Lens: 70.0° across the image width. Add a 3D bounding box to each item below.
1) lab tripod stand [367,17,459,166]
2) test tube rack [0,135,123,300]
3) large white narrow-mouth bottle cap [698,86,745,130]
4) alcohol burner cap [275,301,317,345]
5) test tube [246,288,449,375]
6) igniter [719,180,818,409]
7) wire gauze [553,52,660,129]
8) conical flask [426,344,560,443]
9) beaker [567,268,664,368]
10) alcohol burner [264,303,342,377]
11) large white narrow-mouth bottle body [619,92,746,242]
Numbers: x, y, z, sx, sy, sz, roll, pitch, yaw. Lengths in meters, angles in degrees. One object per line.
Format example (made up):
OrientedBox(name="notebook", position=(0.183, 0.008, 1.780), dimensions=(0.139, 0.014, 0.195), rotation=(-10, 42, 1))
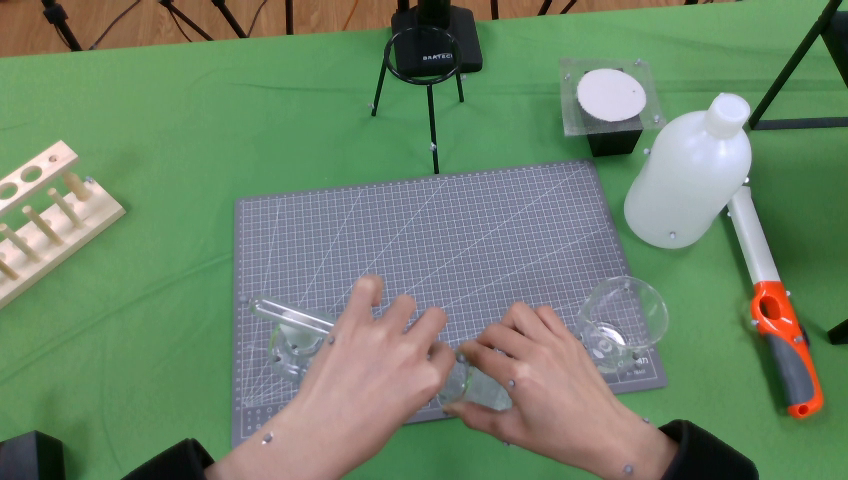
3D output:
OrientedBox(name="lab tripod stand", position=(-0.004, -0.186, 0.739), dimensions=(0.148, 0.132, 0.147), rotation=(1, 62, -2))
OrientedBox(name="test tube rack", position=(-0.467, 0.000, 0.660), dimensions=(0.066, 0.086, 0.242), rotation=(38, 68, 18))
OrientedBox(name="large white narrow-mouth bottle cap", position=(0.283, -0.126, 0.577), dimensions=(0.038, 0.024, 0.037), rotation=(0, 61, 0))
OrientedBox(name="alcohol burner cap", position=(-0.121, 0.076, 0.564), dimensions=(0.034, 0.048, 0.033), rotation=(-2, 61, 4))
OrientedBox(name="test tube", position=(-0.051, 0.064, 0.425), dimensions=(0.151, 0.017, 0.017), rotation=(22, 62, -13))
OrientedBox(name="igniter", position=(0.378, 0.050, 0.677), dimensions=(0.057, 0.025, 0.274), rotation=(3, 61, -11))
OrientedBox(name="wire gauze", position=(0.225, -0.190, 0.759), dimensions=(0.121, 0.011, 0.124), rotation=(0, 61, -1))
OrientedBox(name="conical flask", position=(0.052, 0.117, 0.486), dimensions=(0.075, 0.123, 0.074), rotation=(-19, 57, 32))
OrientedBox(name="beaker", position=(0.185, 0.084, 0.613), dimensions=(0.084, 0.101, 0.073), rotation=(-2, 61, -1))
OrientedBox(name="alcohol burner", position=(-0.121, 0.092, 0.596), dimensions=(0.078, 0.120, 0.077), rotation=(1, 60, -2))
OrientedBox(name="large white narrow-mouth bottle body", position=(0.283, -0.083, 0.652), dimensions=(0.102, 0.196, 0.101), rotation=(0, 61, 0))
